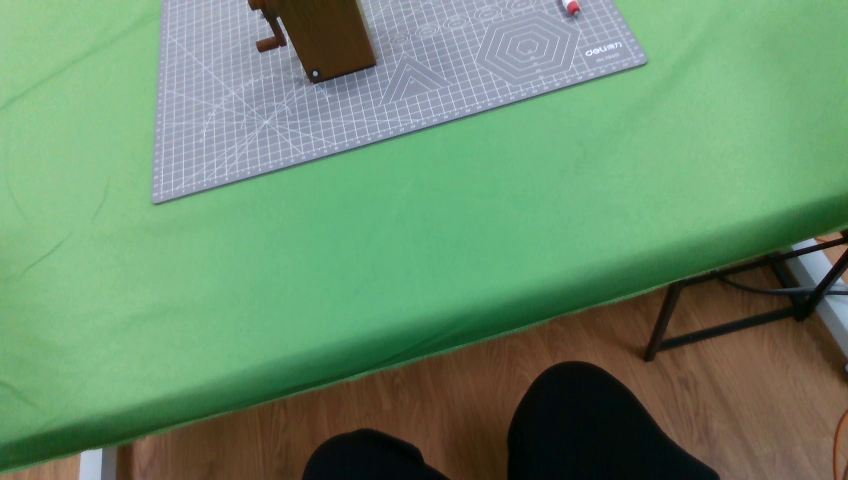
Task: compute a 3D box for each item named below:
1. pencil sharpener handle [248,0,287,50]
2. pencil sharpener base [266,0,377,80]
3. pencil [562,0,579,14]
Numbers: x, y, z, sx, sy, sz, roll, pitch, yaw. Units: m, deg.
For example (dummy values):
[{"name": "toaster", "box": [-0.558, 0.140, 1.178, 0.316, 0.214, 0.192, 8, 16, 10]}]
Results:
[{"name": "pencil sharpener handle", "box": [-0.145, -0.199, 0.537, 0.030, 0.068, 0.035, -18, 57, 1]}, {"name": "pencil sharpener base", "box": [-0.094, -0.208, 0.547, 0.077, 0.108, 0.060, -18, 58, 1]}, {"name": "pencil", "box": [0.114, -0.287, 0.609, 0.012, 0.012, 0.192, -19, 56, 0]}]
